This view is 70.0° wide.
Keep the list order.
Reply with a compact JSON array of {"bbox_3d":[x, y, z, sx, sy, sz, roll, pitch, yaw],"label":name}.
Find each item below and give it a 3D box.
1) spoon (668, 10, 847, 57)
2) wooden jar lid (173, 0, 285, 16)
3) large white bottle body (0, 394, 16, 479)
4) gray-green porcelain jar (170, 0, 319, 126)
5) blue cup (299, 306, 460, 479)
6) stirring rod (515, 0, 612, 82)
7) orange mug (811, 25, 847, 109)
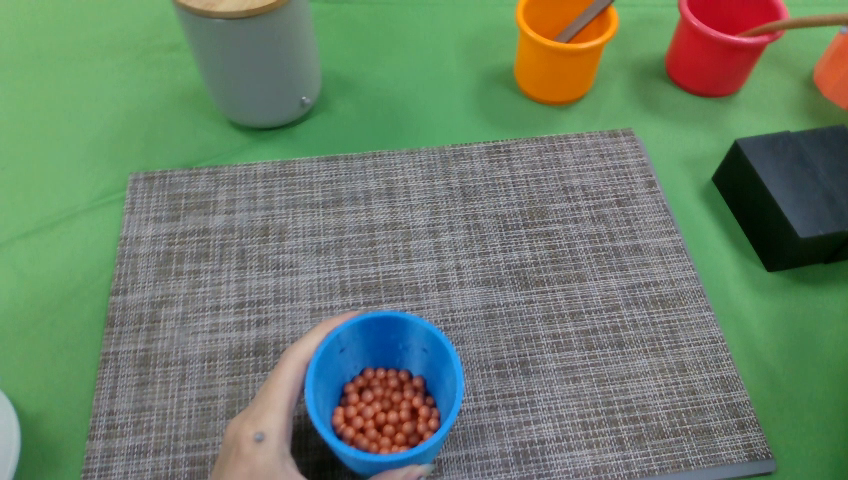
[{"bbox_3d":[0.300,-0.185,0.534,0.041,0.022,0.192,-40,22,-17],"label":"spoon"},{"bbox_3d":[-0.148,-0.206,0.474,0.108,0.021,0.107,2,56,-2],"label":"wooden jar lid"},{"bbox_3d":[-0.326,0.099,0.311,0.131,0.186,0.129,1,57,-1],"label":"large white bottle body"},{"bbox_3d":[-0.148,-0.172,0.526,0.106,0.127,0.105,1,57,0],"label":"gray-green porcelain jar"},{"bbox_3d":[-0.025,0.102,0.363,0.093,0.101,0.092,2,56,-3],"label":"blue cup"},{"bbox_3d":[0.151,-0.208,0.550,0.176,0.006,0.014,-40,59,24],"label":"stirring rod"},{"bbox_3d":[0.433,-0.169,0.553,0.083,0.102,0.125,-7,53,-5],"label":"orange mug"}]
